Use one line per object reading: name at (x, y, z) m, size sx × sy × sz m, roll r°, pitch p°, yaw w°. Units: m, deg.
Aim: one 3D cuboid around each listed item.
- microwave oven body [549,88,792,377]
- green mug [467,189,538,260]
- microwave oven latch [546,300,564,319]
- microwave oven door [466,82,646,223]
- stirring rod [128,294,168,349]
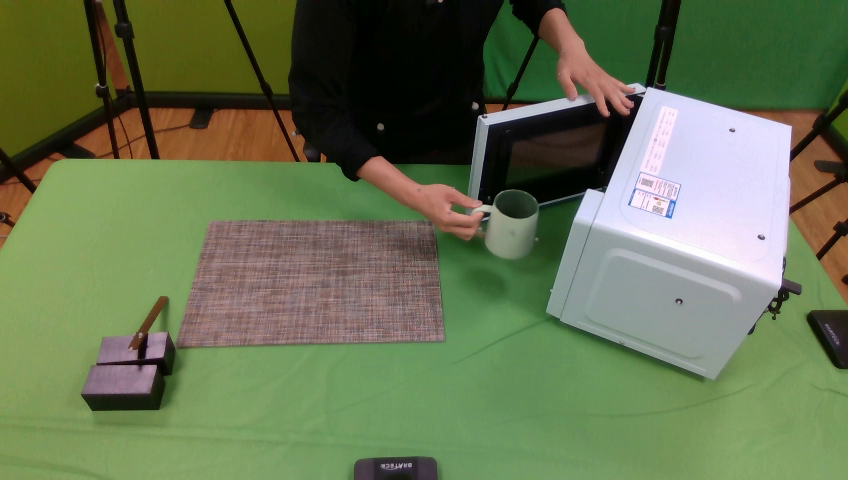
microwave oven body at (0.456, -0.028, 1.088) m, size 0.325 × 0.261 × 0.440 m, roll 20°, pitch 47°, yaw 16°
green mug at (0.140, -0.029, 1.085) m, size 0.125 × 0.105 × 0.092 m, roll 7°, pitch 46°, yaw 4°
microwave oven latch at (0.242, 0.102, 1.081) m, size 0.030 × 0.029 × 0.079 m, roll 21°, pitch 48°, yaw 17°
microwave oven door at (0.260, -0.173, 1.205) m, size 0.356 × 0.245 × 0.039 m, roll -15°, pitch 48°, yaw -17°
stirring rod at (-0.451, 0.131, 0.996) m, size 0.014 × 0.006 × 0.175 m, roll 9°, pitch 21°, yaw -10°
